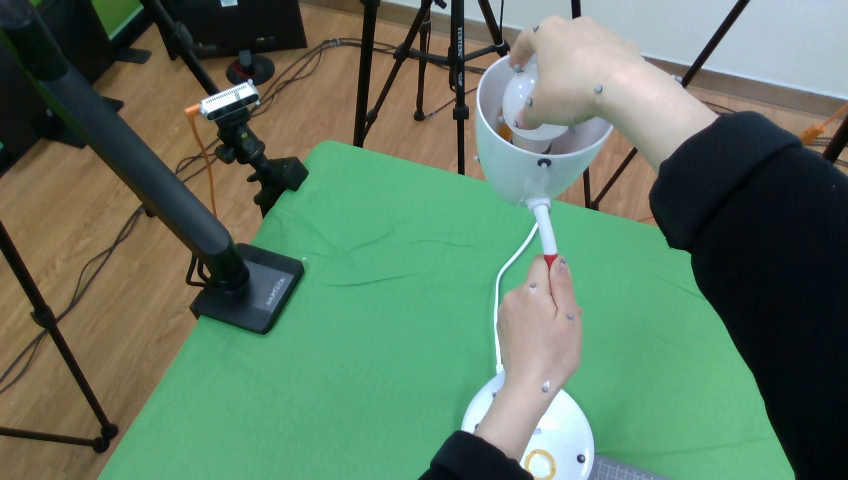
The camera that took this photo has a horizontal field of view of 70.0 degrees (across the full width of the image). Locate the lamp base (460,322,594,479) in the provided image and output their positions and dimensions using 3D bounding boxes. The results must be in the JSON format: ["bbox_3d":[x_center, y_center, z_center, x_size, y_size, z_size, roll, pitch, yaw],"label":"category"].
[{"bbox_3d":[0.117,0.182,0.675,0.161,0.182,0.177,-20,55,-13],"label":"lamp base"}]

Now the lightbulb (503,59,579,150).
[{"bbox_3d":[0.092,-0.101,0.501,0.059,0.108,0.059,0,63,0],"label":"lightbulb"}]

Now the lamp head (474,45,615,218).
[{"bbox_3d":[0.095,-0.083,0.522,0.112,0.124,0.111,1,56,-1],"label":"lamp head"}]
